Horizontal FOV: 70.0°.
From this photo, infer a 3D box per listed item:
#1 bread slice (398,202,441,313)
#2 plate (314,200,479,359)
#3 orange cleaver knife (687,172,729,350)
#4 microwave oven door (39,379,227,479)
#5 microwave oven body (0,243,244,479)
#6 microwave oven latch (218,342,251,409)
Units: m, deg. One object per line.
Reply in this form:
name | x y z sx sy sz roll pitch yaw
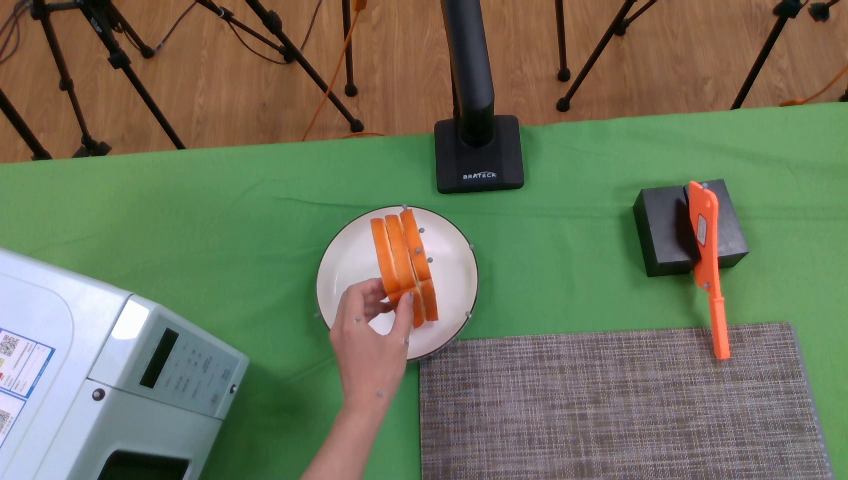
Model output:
bread slice | -0.006 0.020 0.717 0.018 0.135 0.106 -17 64 -3
plate | -0.033 0.050 0.771 0.207 0.039 0.206 -2 68 4
orange cleaver knife | 0.336 0.023 0.721 0.012 0.077 0.212 -9 98 1
microwave oven door | -0.316 0.316 0.563 0.039 0.245 0.354 15 71 12
microwave oven body | -0.440 0.243 0.608 0.325 0.262 0.439 16 71 10
microwave oven latch | -0.236 0.160 0.727 0.030 0.030 0.079 17 72 11
